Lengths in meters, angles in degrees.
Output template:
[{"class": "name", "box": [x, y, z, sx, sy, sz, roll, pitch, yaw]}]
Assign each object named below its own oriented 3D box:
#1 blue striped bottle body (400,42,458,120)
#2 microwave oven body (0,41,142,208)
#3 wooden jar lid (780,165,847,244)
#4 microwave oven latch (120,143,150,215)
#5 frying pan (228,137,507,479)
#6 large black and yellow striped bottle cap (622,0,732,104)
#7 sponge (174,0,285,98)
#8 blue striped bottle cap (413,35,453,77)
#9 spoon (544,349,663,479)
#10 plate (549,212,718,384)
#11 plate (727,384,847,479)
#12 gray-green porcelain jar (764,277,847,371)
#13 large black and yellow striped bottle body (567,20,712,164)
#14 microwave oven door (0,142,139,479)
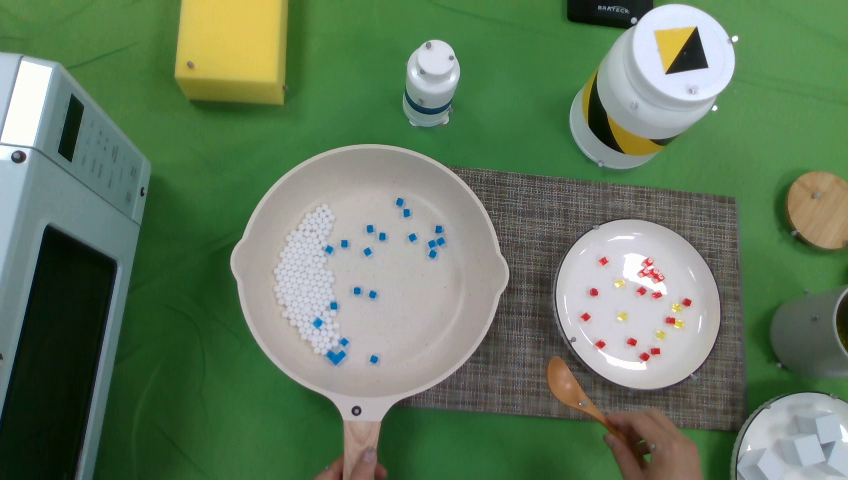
[{"class": "blue striped bottle body", "box": [0.006, -0.197, 0.733, 0.063, 0.121, 0.063, 1, 77, -6]}, {"class": "microwave oven body", "box": [-0.487, 0.064, 0.545, 0.326, 0.261, 0.439, 6, 78, -5]}, {"class": "wooden jar lid", "box": [0.527, -0.047, 0.812, 0.108, 0.021, 0.108, 1, 79, -6]}, {"class": "microwave oven latch", "box": [-0.335, -0.070, 0.691, 0.030, 0.029, 0.079, 7, 78, -5]}, {"class": "frying pan", "box": [-0.067, 0.126, 0.661, 0.307, 0.103, 0.484, 5, 69, -3]}, {"class": "large black and yellow striped bottle cap", "box": [0.269, -0.201, 0.644, 0.115, 0.019, 0.114, 2, 76, -6]}, {"class": "sponge", "box": [-0.237, -0.287, 0.755, 0.118, 0.061, 0.206, 0, 79, -7]}, {"class": "blue striped bottle cap", "box": [0.010, -0.208, 0.683, 0.044, 0.021, 0.044, 1, 75, -5]}, {"class": "spoon", "box": [0.190, 0.188, 0.635, 0.194, 0.021, 0.041, 45, 49, -5]}, {"class": "plate", "box": [0.253, 0.069, 0.743, 0.209, 0.038, 0.208, 1, 78, -6]}, {"class": "plate", "box": [0.459, 0.277, 0.726, 0.208, 0.039, 0.206, 1, 78, -6]}, {"class": "gray-green porcelain jar", "box": [0.484, 0.103, 0.720, 0.106, 0.127, 0.105, 1, 77, -6]}, {"class": "large black and yellow striped bottle body", "box": [0.261, -0.182, 0.727, 0.131, 0.184, 0.130, 1, 77, -6]}, {"class": "microwave oven door", "box": [-0.346, 0.119, 0.544, 0.039, 0.244, 0.354, 6, 77, -4]}]
